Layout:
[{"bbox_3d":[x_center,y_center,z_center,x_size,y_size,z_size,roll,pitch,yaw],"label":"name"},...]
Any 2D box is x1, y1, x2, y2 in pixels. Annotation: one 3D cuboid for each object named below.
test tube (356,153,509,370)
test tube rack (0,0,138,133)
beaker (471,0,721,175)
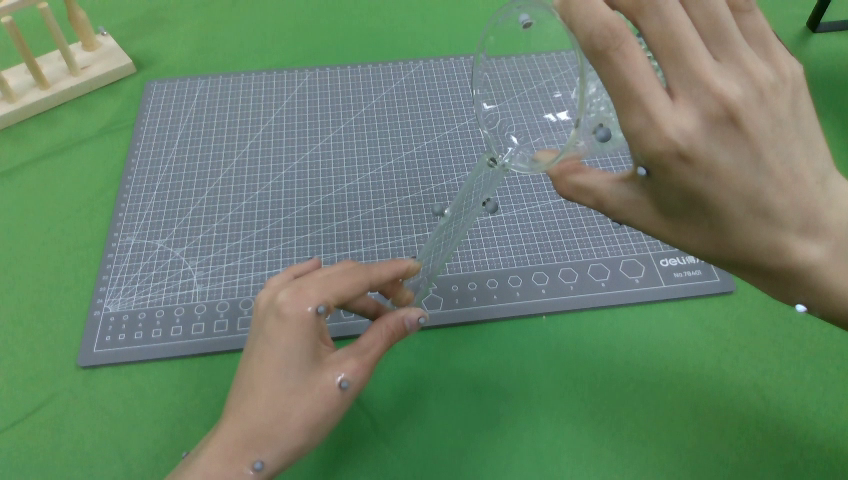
[{"bbox_3d":[0.000,0.018,0.328,0.017,0.151,0.017,26,27,-14],"label":"test tube"},{"bbox_3d":[-0.391,-0.145,0.522,0.242,0.086,0.066,-33,59,-22],"label":"test tube rack"},{"bbox_3d":[0.083,-0.074,0.291,0.100,0.084,0.073,-14,55,-28],"label":"beaker"}]
